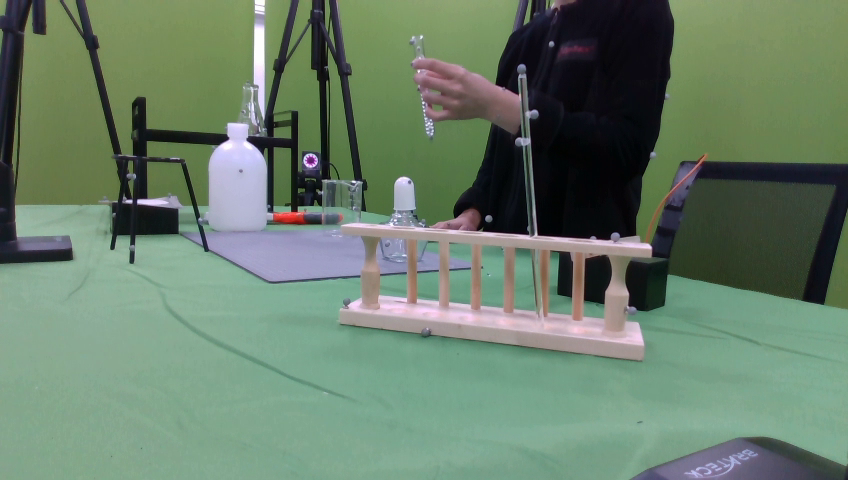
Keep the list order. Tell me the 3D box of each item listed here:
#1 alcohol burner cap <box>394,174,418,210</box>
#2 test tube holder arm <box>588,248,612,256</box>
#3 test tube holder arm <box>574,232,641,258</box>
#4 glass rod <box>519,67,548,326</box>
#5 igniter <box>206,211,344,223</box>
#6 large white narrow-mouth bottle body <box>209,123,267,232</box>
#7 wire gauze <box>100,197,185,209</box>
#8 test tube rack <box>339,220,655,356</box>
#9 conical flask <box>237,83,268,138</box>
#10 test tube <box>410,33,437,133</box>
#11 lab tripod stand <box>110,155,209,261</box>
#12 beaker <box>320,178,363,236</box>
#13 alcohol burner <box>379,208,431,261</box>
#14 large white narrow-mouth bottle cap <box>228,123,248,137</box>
[{"bbox_3d":[-0.026,-0.067,0.834,0.034,0.048,0.034,-1,12,1],"label":"alcohol burner cap"},{"bbox_3d":[0.180,0.006,0.611,0.010,0.015,0.088,-3,2,36],"label":"test tube holder arm"},{"bbox_3d":[0.202,0.003,0.651,0.013,0.015,0.179,-3,2,36],"label":"test tube holder arm"},{"bbox_3d":[0.084,-0.029,0.459,0.008,0.199,0.008,-7,11,2],"label":"glass rod"},{"bbox_3d":[-0.302,-0.048,1.249,0.278,0.025,0.057,-2,-2,-26],"label":"igniter"},{"bbox_3d":[-0.340,-0.115,1.109,0.102,0.194,0.102,2,8,0],"label":"large white narrow-mouth bottle body"},{"bbox_3d":[-0.469,-0.062,1.008,0.126,0.011,0.121,-2,8,-25],"label":"wire gauze"},{"bbox_3d":[0.056,0.032,0.495,0.242,0.085,0.067,4,7,15],"label":"test tube rack"},{"bbox_3d":[-0.402,-0.299,1.406,0.075,0.122,0.075,2,7,0],"label":"conical flask"},{"bbox_3d":[0.001,-0.228,0.889,0.017,0.150,0.017,-8,33,6],"label":"test tube"},{"bbox_3d":[-0.361,-0.046,0.806,0.148,0.131,0.148,2,5,0],"label":"lab tripod stand"},{"bbox_3d":[-0.145,-0.059,1.079,0.074,0.100,0.083,-4,10,-36],"label":"beaker"},{"bbox_3d":[-0.027,-0.031,0.838,0.078,0.119,0.078,0,6,0],"label":"alcohol burner"},{"bbox_3d":[-0.338,-0.199,1.097,0.038,0.024,0.037,2,8,0],"label":"large white narrow-mouth bottle cap"}]
